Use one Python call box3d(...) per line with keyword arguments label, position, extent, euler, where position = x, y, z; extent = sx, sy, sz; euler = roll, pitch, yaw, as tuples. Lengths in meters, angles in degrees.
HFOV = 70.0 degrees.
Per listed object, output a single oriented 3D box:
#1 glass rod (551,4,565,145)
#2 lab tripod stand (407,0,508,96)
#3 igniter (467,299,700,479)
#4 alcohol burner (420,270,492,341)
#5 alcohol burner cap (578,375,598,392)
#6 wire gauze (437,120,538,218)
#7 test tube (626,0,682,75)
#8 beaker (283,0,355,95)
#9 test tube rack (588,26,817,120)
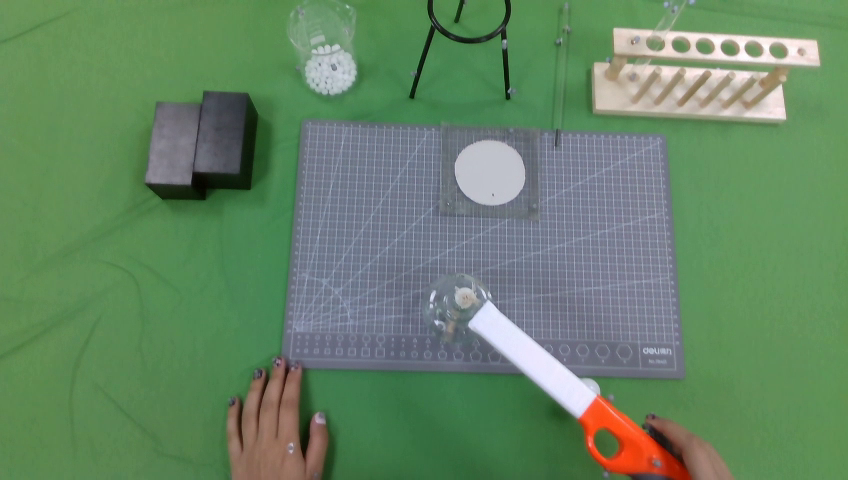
box3d(label="glass rod", position=(0.170, -0.213, 0.769), extent=(0.008, 0.008, 0.198), euler=(7, 76, -1))
box3d(label="lab tripod stand", position=(0.041, -0.238, 0.706), extent=(0.148, 0.132, 0.147), euler=(0, 74, -1))
box3d(label="igniter", position=(0.151, 0.155, 0.542), extent=(0.276, 0.025, 0.057), euler=(41, 81, 7))
box3d(label="alcohol burner", position=(0.036, 0.065, 0.634), extent=(0.078, 0.119, 0.077), euler=(1, 73, -4))
box3d(label="alcohol burner cap", position=(0.172, 0.162, 0.656), extent=(0.034, 0.048, 0.033), euler=(1, 74, -2))
box3d(label="wire gauze", position=(0.076, -0.089, 0.731), extent=(0.125, 0.011, 0.121), euler=(3, 74, -1))
box3d(label="test tube", position=(0.262, -0.236, 0.691), extent=(0.017, 0.151, 0.017), euler=(1, 71, -1))
box3d(label="beaker", position=(-0.116, -0.225, 0.713), extent=(0.084, 0.100, 0.073), euler=(-36, 80, -12))
box3d(label="test tube rack", position=(0.332, -0.201, 0.736), extent=(0.242, 0.085, 0.066), euler=(2, 75, -2))
